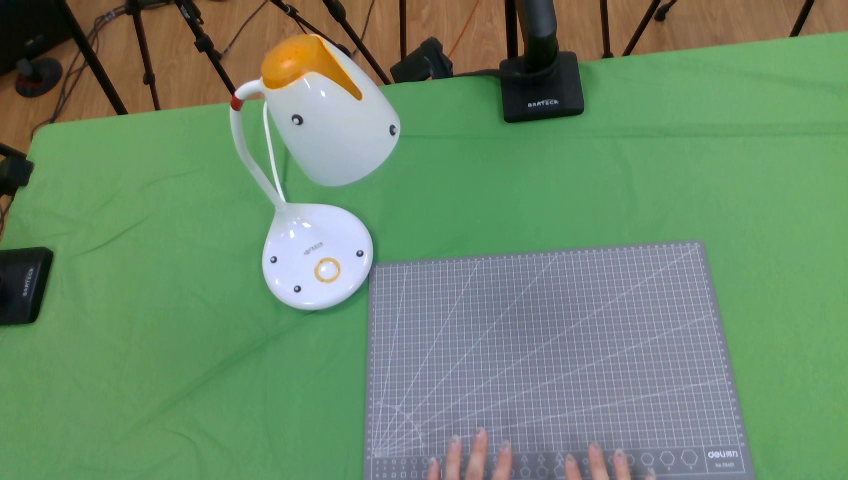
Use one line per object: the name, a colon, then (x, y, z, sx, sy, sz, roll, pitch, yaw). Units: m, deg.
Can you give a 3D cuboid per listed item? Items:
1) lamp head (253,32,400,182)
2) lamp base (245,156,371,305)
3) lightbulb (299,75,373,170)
lamp head: (-0.100, -0.132, 0.570, 0.112, 0.124, 0.111, -17, 50, 22)
lamp base: (-0.174, -0.023, 0.797, 0.160, 0.182, 0.177, -41, 63, -11)
lightbulb: (-0.088, -0.113, 0.584, 0.059, 0.109, 0.059, -12, 50, 14)
